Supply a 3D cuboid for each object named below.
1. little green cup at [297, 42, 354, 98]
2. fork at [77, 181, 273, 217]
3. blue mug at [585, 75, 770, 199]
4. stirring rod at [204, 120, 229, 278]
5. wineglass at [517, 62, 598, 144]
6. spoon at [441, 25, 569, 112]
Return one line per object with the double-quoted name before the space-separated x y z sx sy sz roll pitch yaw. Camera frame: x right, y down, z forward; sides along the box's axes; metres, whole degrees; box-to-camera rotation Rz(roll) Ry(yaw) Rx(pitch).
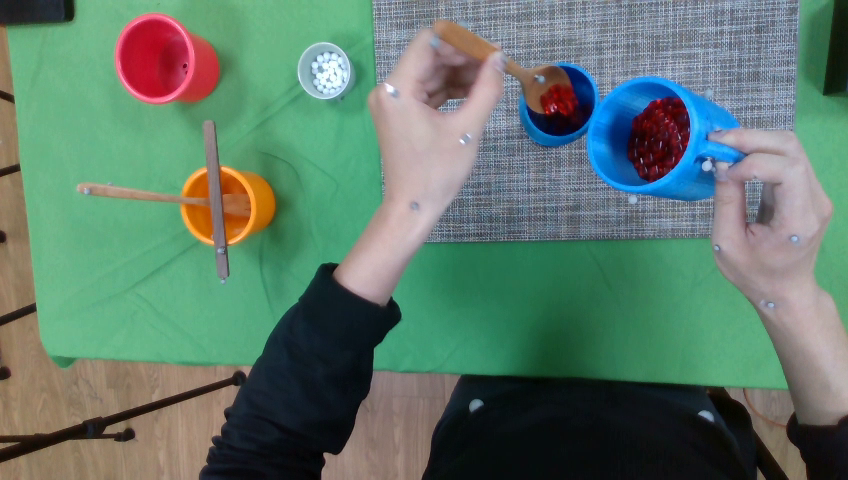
"little green cup" -0.110 -0.192 0.695 0.061 0.038 0.061 1 99 10
"fork" -0.274 -0.047 0.686 0.209 0.018 0.028 5 108 -35
"blue mug" 0.198 -0.071 0.458 0.115 0.106 0.082 24 106 40
"stirring rod" -0.232 -0.045 0.677 0.014 0.006 0.176 -1 98 11
"wineglass" 0.128 -0.129 0.593 0.073 0.172 0.074 1 98 9
"spoon" 0.067 -0.127 0.449 0.021 0.195 0.042 43 111 22
